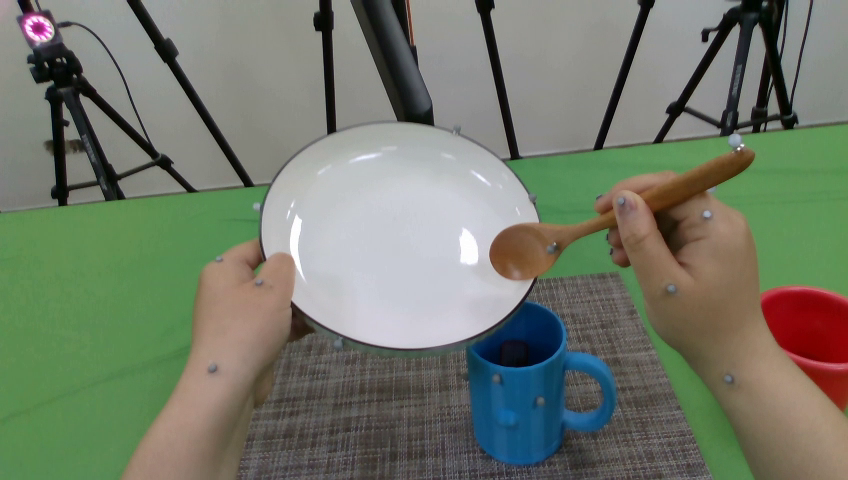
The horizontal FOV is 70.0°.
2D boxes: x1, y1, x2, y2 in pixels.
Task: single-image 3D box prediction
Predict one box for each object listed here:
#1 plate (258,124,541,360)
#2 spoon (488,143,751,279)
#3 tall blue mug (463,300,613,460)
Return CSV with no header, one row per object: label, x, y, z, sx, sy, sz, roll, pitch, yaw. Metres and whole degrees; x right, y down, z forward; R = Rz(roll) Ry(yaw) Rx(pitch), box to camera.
plate,-0.015,-0.002,0.455,0.208,0.039,0.205,4,54,-5
spoon,0.103,-0.011,0.363,0.021,0.041,0.193,-33,3,-34
tall blue mug,0.087,0.109,0.485,0.107,0.109,0.077,-10,34,-3
